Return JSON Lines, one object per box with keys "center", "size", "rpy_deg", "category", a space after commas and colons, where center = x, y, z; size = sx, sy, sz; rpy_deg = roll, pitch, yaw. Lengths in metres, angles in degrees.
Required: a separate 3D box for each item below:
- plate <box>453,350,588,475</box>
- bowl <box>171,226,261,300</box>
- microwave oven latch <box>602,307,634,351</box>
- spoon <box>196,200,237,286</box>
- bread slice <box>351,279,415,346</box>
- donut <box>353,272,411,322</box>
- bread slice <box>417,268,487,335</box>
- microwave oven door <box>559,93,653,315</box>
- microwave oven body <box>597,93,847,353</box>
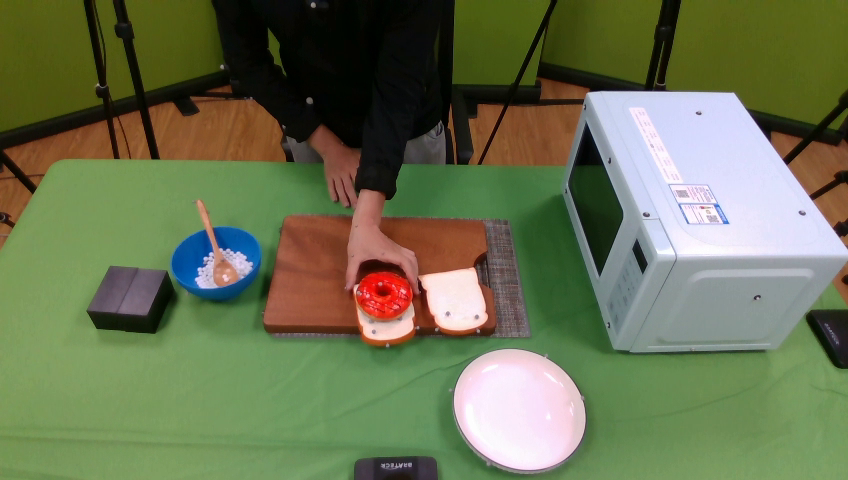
{"center": [0.147, 0.267, 0.943], "size": [0.208, 0.039, 0.206], "rpy_deg": [2, 45, -2], "category": "plate"}
{"center": [-0.363, 0.054, 1.081], "size": [0.151, 0.077, 0.150], "rpy_deg": [2, 45, -2], "category": "bowl"}
{"center": [0.332, 0.153, 1.044], "size": [0.030, 0.029, 0.078], "rpy_deg": [0, 45, -4], "category": "microwave oven latch"}
{"center": [-0.378, 0.003, 1.086], "size": [0.042, 0.022, 0.193], "rpy_deg": [-15, 67, -24], "category": "spoon"}
{"center": [-0.067, 0.122, 1.040], "size": [0.105, 0.019, 0.130], "rpy_deg": [-7, 48, -9], "category": "bread slice"}
{"center": [-0.070, 0.096, 1.025], "size": [0.099, 0.048, 0.098], "rpy_deg": [2, 45, -2], "category": "donut"}
{"center": [0.055, 0.107, 1.063], "size": [0.107, 0.018, 0.133], "rpy_deg": [-9, 48, -12], "category": "bread slice"}
{"center": [0.327, -0.074, 1.123], "size": [0.039, 0.245, 0.353], "rpy_deg": [-1, 46, -5], "category": "microwave oven door"}
{"center": [0.475, -0.041, 1.109], "size": [0.326, 0.261, 0.438], "rpy_deg": [-1, 45, -4], "category": "microwave oven body"}
